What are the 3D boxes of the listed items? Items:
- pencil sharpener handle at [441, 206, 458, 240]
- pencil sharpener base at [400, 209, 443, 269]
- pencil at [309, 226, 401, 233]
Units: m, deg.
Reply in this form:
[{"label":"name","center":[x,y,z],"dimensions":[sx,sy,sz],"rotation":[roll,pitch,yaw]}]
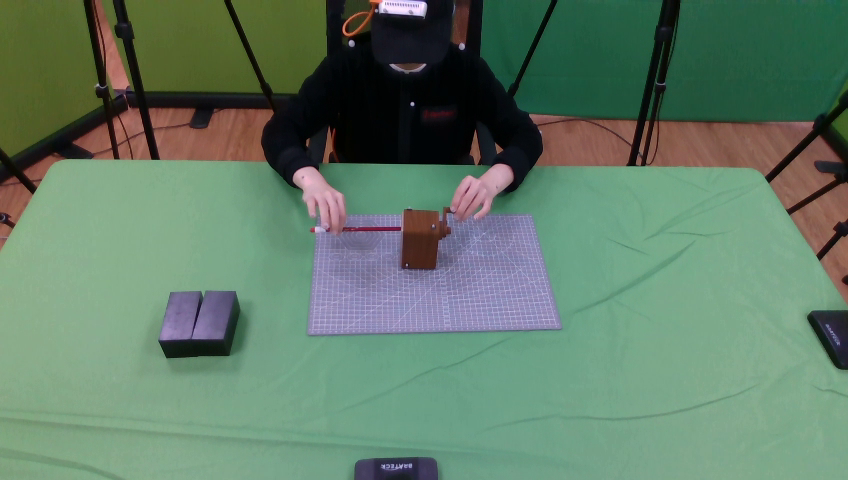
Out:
[{"label":"pencil sharpener handle","center":[0.047,-0.033,1.122],"dimensions":[0.030,0.036,0.067],"rotation":[2,69,-2]},{"label":"pencil sharpener base","center":[-0.006,0.000,1.134],"dimensions":[0.077,0.107,0.061],"rotation":[2,46,-2]},{"label":"pencil","center":[-0.113,-0.019,1.112],"dimensions":[0.194,0.012,0.012],"rotation":[0,46,-1]}]
